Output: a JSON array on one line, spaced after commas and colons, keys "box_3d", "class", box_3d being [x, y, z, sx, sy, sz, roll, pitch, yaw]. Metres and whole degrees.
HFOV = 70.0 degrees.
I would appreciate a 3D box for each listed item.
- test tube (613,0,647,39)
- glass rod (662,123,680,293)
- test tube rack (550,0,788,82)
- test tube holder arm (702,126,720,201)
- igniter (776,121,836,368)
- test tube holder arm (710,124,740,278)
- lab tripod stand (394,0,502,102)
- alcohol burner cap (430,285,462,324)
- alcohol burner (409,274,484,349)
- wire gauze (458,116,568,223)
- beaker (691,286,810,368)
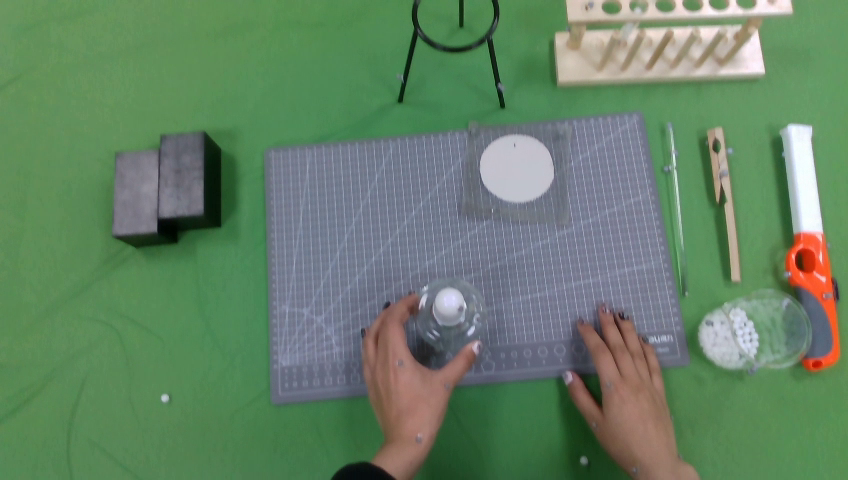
[{"box_3d": [0.234, -0.262, 0.652, 0.017, 0.150, 0.017, 1, 77, -3], "class": "test tube"}, {"box_3d": [0.281, -0.038, 0.687, 0.008, 0.008, 0.199, 0, 79, 2], "class": "glass rod"}, {"box_3d": [0.274, -0.237, 0.696, 0.242, 0.085, 0.066, -2, 76, 2], "class": "test tube rack"}, {"box_3d": [0.330, -0.088, 0.694, 0.010, 0.015, 0.087, -11, 74, 35], "class": "test tube holder arm"}, {"box_3d": [0.416, 0.000, 0.664, 0.057, 0.025, 0.275, 4, 76, -8], "class": "igniter"}, {"box_3d": [0.337, -0.045, 0.680, 0.013, 0.015, 0.177, -13, 73, 34], "class": "test tube holder arm"}, {"box_3d": [0.028, -0.219, 0.675, 0.148, 0.132, 0.147, 0, 78, 2], "class": "lab tripod stand"}, {"box_3d": [0.022, 0.059, 0.578, 0.034, 0.048, 0.033, 0, 71, -1], "class": "alcohol burner cap"}, {"box_3d": [0.022, 0.070, 0.613, 0.078, 0.120, 0.077, -1, 75, 4], "class": "alcohol burner"}, {"box_3d": [0.104, -0.085, 0.702, 0.125, 0.011, 0.121, 6, 78, 2], "class": "wire gauze"}, {"box_3d": [0.318, 0.090, 0.609, 0.084, 0.101, 0.074, 26, 78, 9], "class": "beaker"}]
